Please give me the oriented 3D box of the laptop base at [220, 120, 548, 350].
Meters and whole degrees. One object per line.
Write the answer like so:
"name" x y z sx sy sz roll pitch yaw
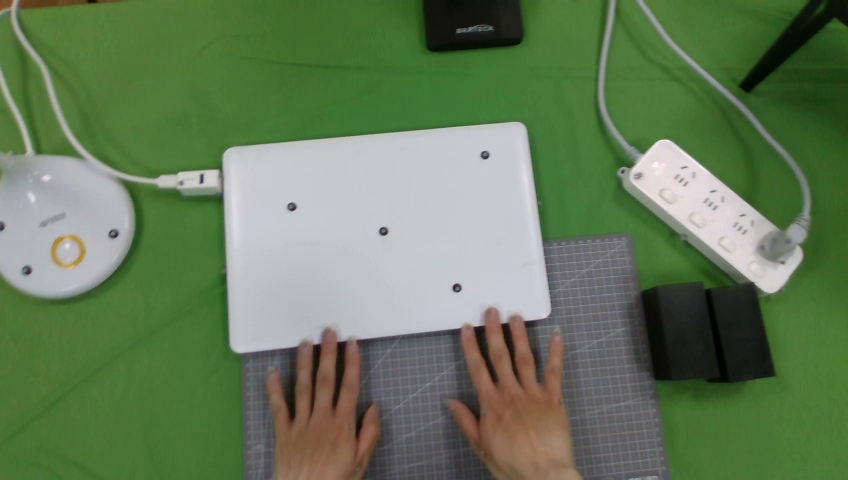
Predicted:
"laptop base" -0.049 -0.010 0.692 0.354 0.023 0.234 -6 81 -3

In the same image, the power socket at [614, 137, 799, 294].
"power socket" 0.325 -0.029 0.697 0.226 0.033 0.072 42 80 7

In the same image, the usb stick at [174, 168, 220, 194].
"usb stick" -0.249 -0.067 0.686 0.059 0.027 0.021 -2 72 -5

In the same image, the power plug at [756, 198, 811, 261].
"power plug" 0.400 -0.007 0.670 0.072 0.053 0.035 -37 80 -10

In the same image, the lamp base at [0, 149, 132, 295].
"lamp base" -0.416 -0.044 0.605 0.160 0.181 0.178 -36 78 -8

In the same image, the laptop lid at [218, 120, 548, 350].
"laptop lid" -0.049 -0.011 0.680 0.357 0.013 0.240 -4 80 -2
